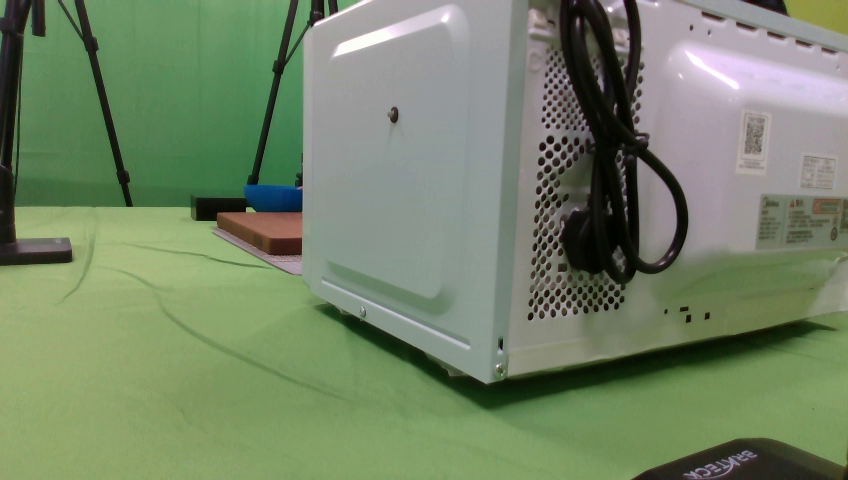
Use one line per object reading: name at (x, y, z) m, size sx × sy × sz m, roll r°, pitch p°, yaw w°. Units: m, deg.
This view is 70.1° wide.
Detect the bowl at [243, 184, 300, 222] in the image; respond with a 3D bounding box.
bowl at (-0.321, -0.081, 1.334) m, size 0.151 × 0.077 × 0.151 m, roll 3°, pitch 7°, yaw 0°

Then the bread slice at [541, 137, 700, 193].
bread slice at (0.198, -0.074, 0.594) m, size 0.107 × 0.018 × 0.133 m, roll -1°, pitch 22°, yaw -42°

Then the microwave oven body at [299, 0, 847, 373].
microwave oven body at (0.152, -0.055, 0.542) m, size 0.444 × 0.260 × 0.324 m, roll -2°, pitch 7°, yaw -33°

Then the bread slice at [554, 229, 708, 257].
bread slice at (0.204, 0.002, 0.583) m, size 0.105 × 0.019 × 0.131 m, roll 5°, pitch -1°, yaw -18°

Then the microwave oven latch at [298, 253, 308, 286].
microwave oven latch at (-0.081, 0.027, 0.582) m, size 0.079 × 0.029 × 0.030 m, roll -1°, pitch 7°, yaw -32°

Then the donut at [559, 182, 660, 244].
donut at (0.185, -0.029, 0.606) m, size 0.099 × 0.048 × 0.099 m, roll 11°, pitch -10°, yaw 2°

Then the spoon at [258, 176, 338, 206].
spoon at (-0.279, -0.112, 1.356) m, size 0.194 × 0.021 × 0.041 m, roll -28°, pitch 18°, yaw -27°

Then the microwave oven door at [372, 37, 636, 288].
microwave oven door at (0.110, -0.080, 0.686) m, size 0.358 × 0.243 × 0.039 m, roll -2°, pitch 8°, yaw -33°
